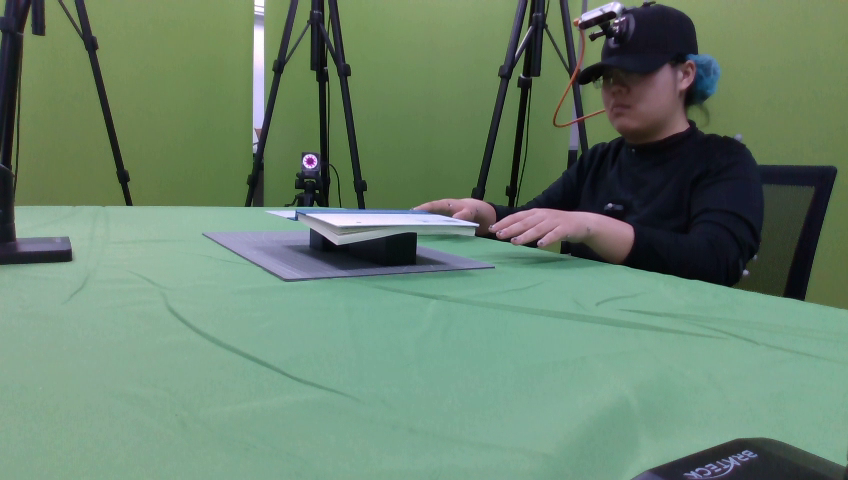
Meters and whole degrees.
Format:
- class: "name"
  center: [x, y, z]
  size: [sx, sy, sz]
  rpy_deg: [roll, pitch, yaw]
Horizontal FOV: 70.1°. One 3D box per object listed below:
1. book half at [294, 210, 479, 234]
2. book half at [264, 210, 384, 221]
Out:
- class: "book half"
  center: [-0.051, -0.025, 0.823]
  size: [0.211, 0.016, 0.148]
  rpy_deg: [-1, 9, -32]
- class: "book half"
  center: [-0.125, -0.038, 0.944]
  size: [0.211, 0.007, 0.142]
  rpy_deg: [-2, 9, -32]
